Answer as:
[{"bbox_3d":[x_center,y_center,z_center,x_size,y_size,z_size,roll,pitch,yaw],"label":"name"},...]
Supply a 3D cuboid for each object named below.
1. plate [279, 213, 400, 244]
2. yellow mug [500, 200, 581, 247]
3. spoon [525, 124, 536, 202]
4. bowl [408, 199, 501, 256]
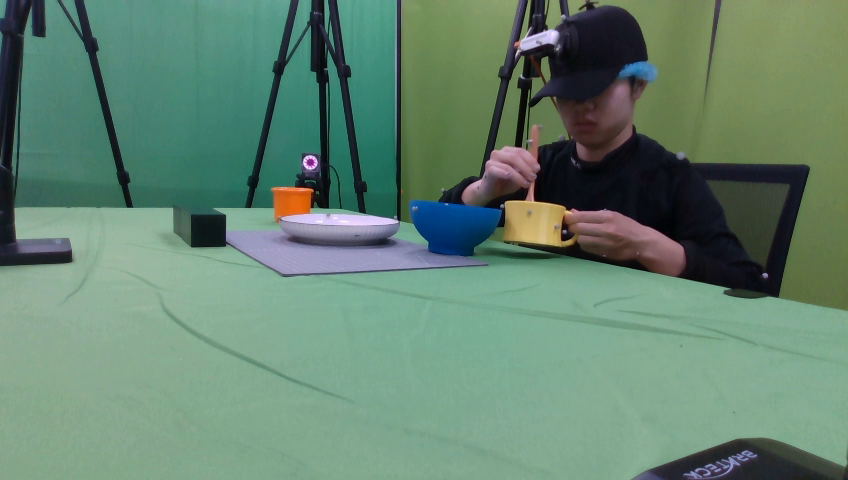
[{"bbox_3d":[-0.147,-0.020,1.060,0.209,0.038,0.209,3,7,0],"label":"plate"},{"bbox_3d":[0.191,-0.024,0.983,0.131,0.064,0.100,7,-1,-3],"label":"yellow mug"},{"bbox_3d":[0.173,-0.095,0.989,0.041,0.193,0.022,-3,-12,39],"label":"spoon"},{"bbox_3d":[0.045,-0.019,0.967,0.151,0.077,0.151,6,5,0],"label":"bowl"}]
